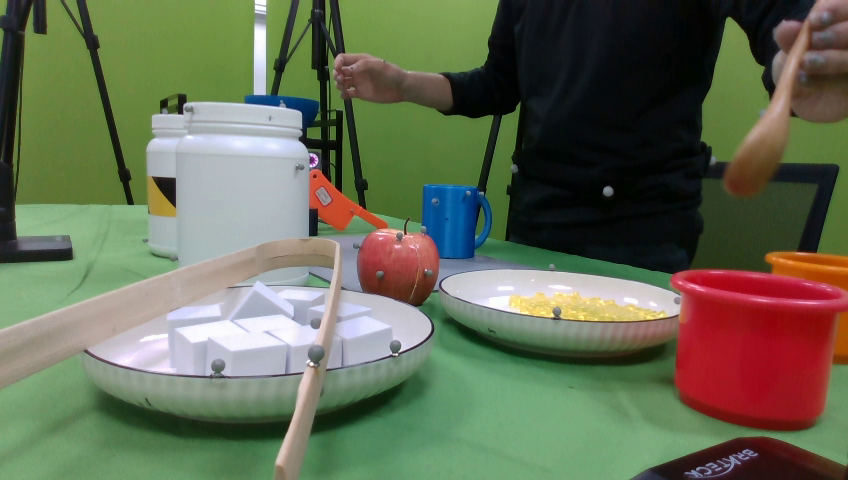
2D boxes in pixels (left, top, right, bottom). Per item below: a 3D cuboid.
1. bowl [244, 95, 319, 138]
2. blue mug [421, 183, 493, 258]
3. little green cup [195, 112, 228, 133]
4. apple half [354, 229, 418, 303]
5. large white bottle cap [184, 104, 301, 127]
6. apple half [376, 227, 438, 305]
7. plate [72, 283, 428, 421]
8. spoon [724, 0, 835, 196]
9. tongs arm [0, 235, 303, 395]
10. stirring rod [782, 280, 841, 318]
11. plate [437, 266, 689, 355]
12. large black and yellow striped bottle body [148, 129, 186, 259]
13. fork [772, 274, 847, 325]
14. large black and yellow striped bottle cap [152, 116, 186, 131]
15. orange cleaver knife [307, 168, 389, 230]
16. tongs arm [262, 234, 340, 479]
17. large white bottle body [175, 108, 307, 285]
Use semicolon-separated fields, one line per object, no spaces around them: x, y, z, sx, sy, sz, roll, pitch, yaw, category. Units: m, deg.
-0.293;-0.251;1.249;0.151;0.077;0.151;2;7;0;bowl
0.052;-0.032;0.912;0.117;0.106;0.082;-1;8;-24;blue mug
-0.412;-0.227;1.171;0.061;0.038;0.061;3;8;0;little green cup
-0.044;0.027;0.564;0.081;0.081;0.033;9;5;42;apple half
-0.184;-0.126;0.618;0.115;0.018;0.115;2;8;0;large white bottle cap
-0.017;0.026;0.593;0.080;0.074;0.053;4;2;43;apple half
-0.102;0.066;0.381;0.208;0.039;0.207;2;7;0;plate
0.244;-0.115;0.396;0.042;0.193;0.021;30;-8;-32;spoon
-0.157;0.038;0.351;0.028;0.028;0.388;-3;9;12;tongs arm
0.345;0.019;0.461;0.014;0.006;0.176;-13;-27;-30;stirring rod
0.114;0.057;0.518;0.209;0.038;0.209;3;7;0;plate
-0.310;-0.073;0.838;0.131;0.184;0.130;2;8;0;large black and yellow striped bottle body
0.332;0.018;0.443;0.028;0.018;0.207;0;-36;-15;fork
-0.309;-0.155;0.826;0.115;0.019;0.115;3;6;0;large black and yellow striped bottle cap
-0.158;-0.060;1.166;0.212;0.077;0.012;34;-12;-32;orange cleaver knife
-0.074;0.039;0.349;0.051;0.026;0.384;-2;10;-3;tongs arm
-0.188;-0.042;0.630;0.131;0.184;0.130;2;8;0;large white bottle body
